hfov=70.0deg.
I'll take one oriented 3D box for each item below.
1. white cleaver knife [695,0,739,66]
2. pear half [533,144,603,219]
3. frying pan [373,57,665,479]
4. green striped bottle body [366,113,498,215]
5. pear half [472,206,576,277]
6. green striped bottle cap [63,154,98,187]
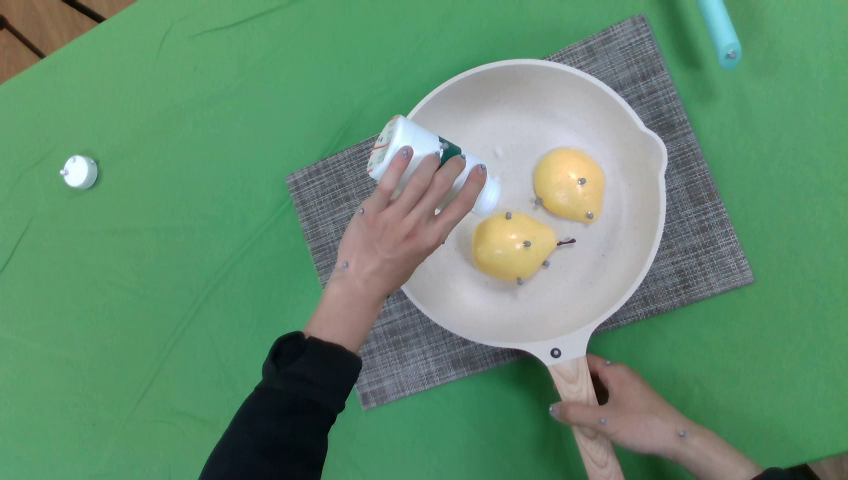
[{"bbox_3d":[0.255,-0.305,0.603,0.021,0.066,0.285,-19,82,20],"label":"white cleaver knife"},{"bbox_3d":[0.153,-0.061,0.641,0.070,0.031,0.087,-37,77,16],"label":"pear half"},{"bbox_3d":[0.121,0.059,0.613,0.306,0.103,0.485,-19,76,15],"label":"frying pan"},{"bbox_3d":[0.011,-0.065,0.568,0.120,0.062,0.063,24,97,-22],"label":"green striped bottle body"},{"bbox_3d":[0.105,0.001,0.641,0.109,0.056,0.076,-7,93,13],"label":"pear half"},{"bbox_3d":[-0.468,-0.095,0.824,0.044,0.020,0.044,0,89,16],"label":"green striped bottle cap"}]
